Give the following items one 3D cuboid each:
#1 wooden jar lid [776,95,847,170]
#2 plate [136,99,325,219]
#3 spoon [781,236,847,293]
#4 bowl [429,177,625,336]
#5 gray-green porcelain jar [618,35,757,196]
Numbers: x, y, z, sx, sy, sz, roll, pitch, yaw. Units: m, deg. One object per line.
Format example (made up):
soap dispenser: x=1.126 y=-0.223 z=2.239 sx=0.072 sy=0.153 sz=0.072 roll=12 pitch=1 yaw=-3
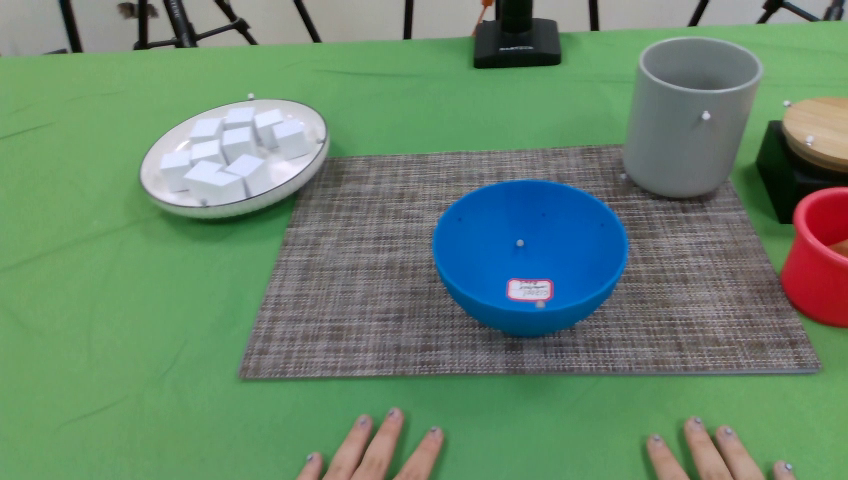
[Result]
wooden jar lid: x=0.385 y=-0.100 z=0.562 sx=0.108 sy=0.021 sz=0.107 roll=-4 pitch=43 yaw=4
plate: x=-0.212 y=-0.090 z=0.683 sx=0.209 sy=0.038 sz=0.207 roll=-4 pitch=43 yaw=4
spoon: x=0.367 y=-0.020 z=0.463 sx=0.022 sy=0.194 sz=0.041 roll=32 pitch=30 yaw=-26
bowl: x=0.081 y=0.025 z=0.493 sx=0.151 sy=0.077 sz=0.150 roll=-3 pitch=43 yaw=3
gray-green porcelain jar: x=0.246 y=-0.114 z=0.584 sx=0.106 sy=0.128 sz=0.105 roll=-4 pitch=44 yaw=4
